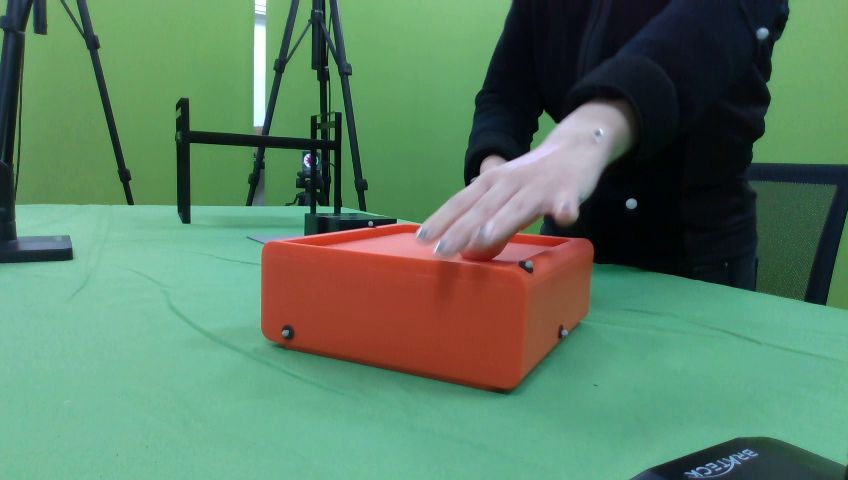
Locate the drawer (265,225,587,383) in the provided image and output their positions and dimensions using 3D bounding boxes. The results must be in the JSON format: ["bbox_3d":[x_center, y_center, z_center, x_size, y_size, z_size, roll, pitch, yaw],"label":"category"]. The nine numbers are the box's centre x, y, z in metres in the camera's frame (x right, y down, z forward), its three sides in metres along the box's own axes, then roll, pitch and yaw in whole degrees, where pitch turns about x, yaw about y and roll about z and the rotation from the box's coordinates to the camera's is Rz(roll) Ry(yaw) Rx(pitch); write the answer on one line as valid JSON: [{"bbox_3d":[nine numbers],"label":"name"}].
[{"bbox_3d":[0.014,0.039,0.493,0.194,0.073,0.212,7,10,25],"label":"drawer"}]

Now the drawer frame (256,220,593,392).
[{"bbox_3d":[0.014,0.036,0.490,0.201,0.082,0.214,6,9,25],"label":"drawer frame"}]

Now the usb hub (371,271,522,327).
[{"bbox_3d":[0.019,0.049,0.527,0.124,0.025,0.050,8,9,25],"label":"usb hub"}]
